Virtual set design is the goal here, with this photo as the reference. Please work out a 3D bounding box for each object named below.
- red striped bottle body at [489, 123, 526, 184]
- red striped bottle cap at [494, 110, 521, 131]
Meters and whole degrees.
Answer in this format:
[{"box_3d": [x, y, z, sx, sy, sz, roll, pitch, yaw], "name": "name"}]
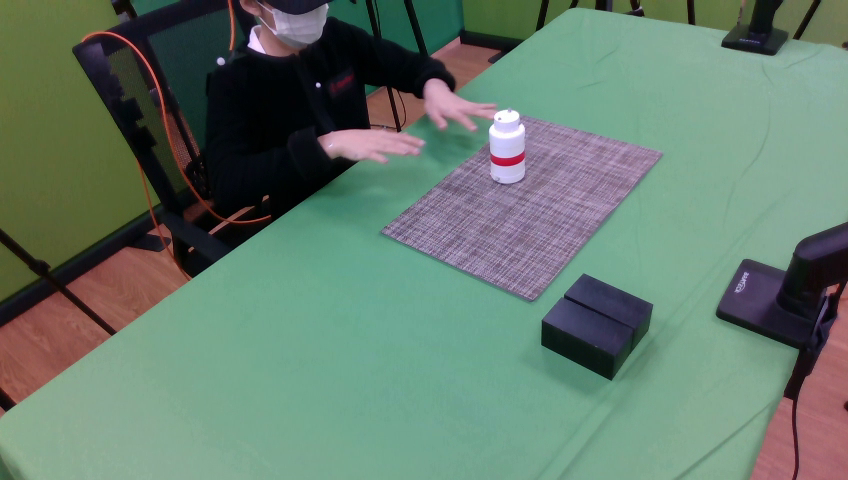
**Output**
[{"box_3d": [0.147, -0.164, 1.064, 0.063, 0.120, 0.062, -5, 39, 4], "name": "red striped bottle body"}, {"box_3d": [0.142, -0.204, 1.030, 0.044, 0.018, 0.044, -6, 38, 5], "name": "red striped bottle cap"}]
